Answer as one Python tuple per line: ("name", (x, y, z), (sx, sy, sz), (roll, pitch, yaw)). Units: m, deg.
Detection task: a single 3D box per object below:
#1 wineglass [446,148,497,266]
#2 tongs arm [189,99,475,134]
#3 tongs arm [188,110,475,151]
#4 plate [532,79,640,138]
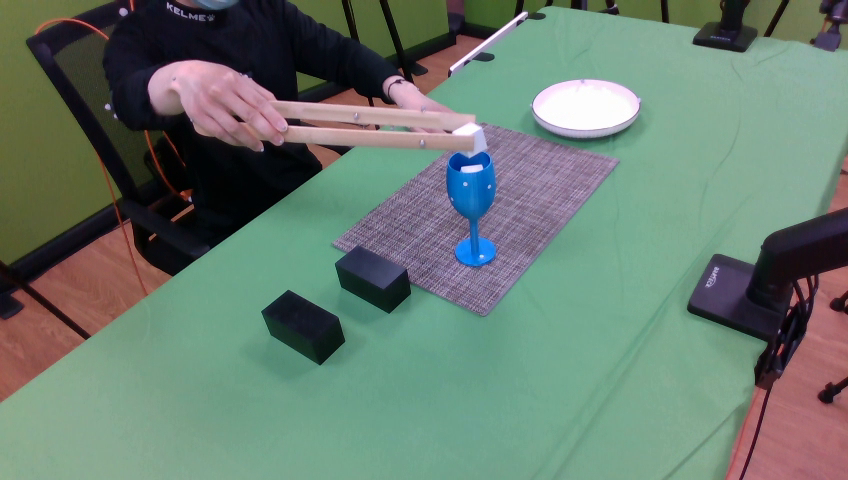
("wineglass", (0.072, -0.045, 0.889), (0.074, 0.173, 0.073), (-4, 41, 4))
("tongs arm", (-0.124, -0.162, 0.823), (0.384, 0.026, 0.050), (6, 45, 6))
("tongs arm", (-0.127, -0.142, 0.802), (0.387, 0.028, 0.028), (4, 48, 4))
("plate", (0.322, -0.259, 1.212), (0.209, 0.038, 0.208), (-4, 40, 4))
